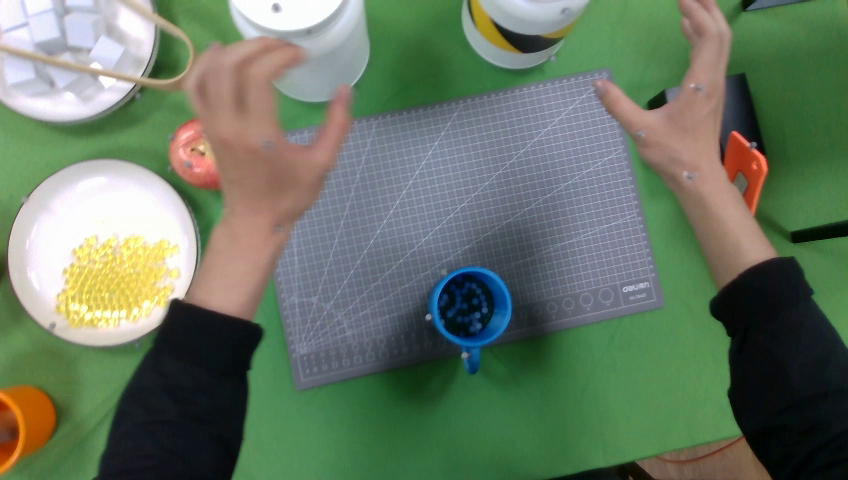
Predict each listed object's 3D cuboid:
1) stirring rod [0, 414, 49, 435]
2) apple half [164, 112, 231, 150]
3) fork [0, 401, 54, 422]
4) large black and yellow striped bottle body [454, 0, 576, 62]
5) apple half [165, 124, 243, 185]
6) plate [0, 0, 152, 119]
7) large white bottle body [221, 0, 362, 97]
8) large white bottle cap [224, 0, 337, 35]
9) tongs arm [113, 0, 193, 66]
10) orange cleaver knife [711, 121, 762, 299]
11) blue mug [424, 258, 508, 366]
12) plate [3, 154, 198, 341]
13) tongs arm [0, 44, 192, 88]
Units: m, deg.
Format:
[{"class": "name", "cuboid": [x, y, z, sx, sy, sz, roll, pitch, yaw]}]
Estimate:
[{"class": "stirring rod", "cuboid": [-0.483, 0.202, 0.615, 0.177, 0.006, 0.014, -1, 73, -43]}, {"class": "apple half", "cuboid": [-0.257, -0.124, 0.680, 0.081, 0.081, 0.033, -27, 93, -4]}, {"class": "fork", "cuboid": [-0.495, 0.184, 0.613, 0.209, 0.018, 0.028, 9, 83, -46]}, {"class": "large black and yellow striped bottle body", "cuboid": [0.105, -0.285, 0.654, 0.131, 0.184, 0.130, 0, 86, -2]}, {"class": "apple half", "cuboid": [-0.239, -0.089, 0.681, 0.081, 0.074, 0.053, -27, 92, -8]}, {"class": "plate", "cuboid": [-0.415, -0.239, 0.695, 0.208, 0.039, 0.207, 0, 87, -3]}, {"class": "large white bottle body", "cuboid": [-0.136, -0.240, 0.638, 0.131, 0.185, 0.130, 0, 86, -2]}, {"class": "large white bottle cap", "cuboid": [-0.133, -0.246, 0.553, 0.115, 0.018, 0.114, 0, 87, -2]}, {"class": "tongs arm", "cuboid": [-0.419, -0.302, 0.668, 0.387, 0.028, 0.028, 30, 79, 1]}, {"class": "orange cleaver knife", "cuboid": [0.356, -0.031, 0.703, 0.012, 0.076, 0.213, -13, 119, -4]}, {"class": "blue mug", "cuboid": [0.044, 0.080, 0.668, 0.082, 0.106, 0.116, -4, 87, -3]}, {"class": "plate", "cuboid": [-0.359, 0.008, 0.686, 0.209, 0.038, 0.209, 0, 87, -3]}, {"class": "tongs arm", "cuboid": [-0.449, -0.225, 0.661, 0.385, 0.026, 0.050, 16, 83, 0]}]
